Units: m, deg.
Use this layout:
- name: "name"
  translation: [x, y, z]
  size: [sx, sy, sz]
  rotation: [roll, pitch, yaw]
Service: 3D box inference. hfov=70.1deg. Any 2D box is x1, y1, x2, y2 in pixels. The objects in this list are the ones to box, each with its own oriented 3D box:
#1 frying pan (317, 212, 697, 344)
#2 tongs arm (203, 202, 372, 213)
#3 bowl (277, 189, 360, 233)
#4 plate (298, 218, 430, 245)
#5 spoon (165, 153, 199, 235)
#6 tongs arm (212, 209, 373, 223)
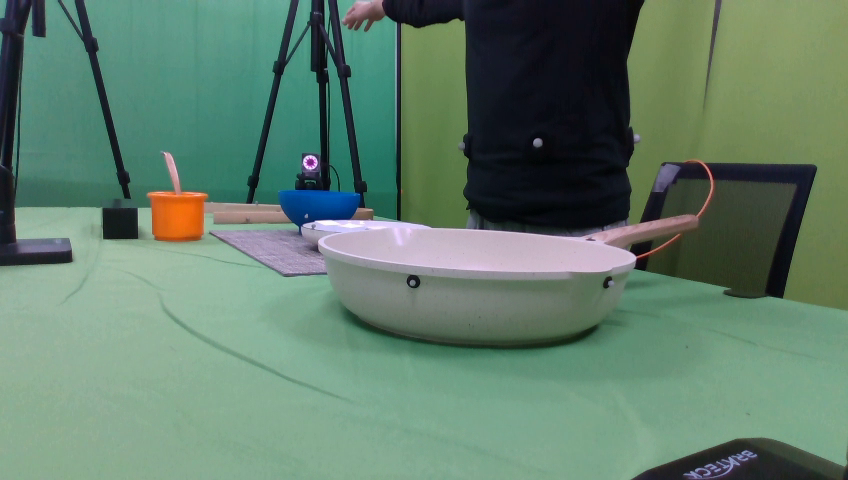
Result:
- name: "frying pan"
  translation: [0.133, 0.013, 0.630]
  size: [0.490, 0.102, 0.305]
  rotation: [-12, 14, -31]
- name: "tongs arm"
  translation: [-0.312, -0.068, 1.417]
  size: [0.387, 0.026, 0.050]
  rotation: [1, 8, -24]
- name: "bowl"
  translation: [-0.195, -0.052, 1.118]
  size: [0.151, 0.077, 0.151]
  rotation: [2, 7, 0]
- name: "plate"
  translation: [-0.091, -0.006, 0.949]
  size: [0.208, 0.039, 0.207]
  rotation: [2, 7, 0]
- name: "spoon"
  translation: [-0.417, -0.081, 1.027]
  size: [0.042, 0.193, 0.021]
  rotation: [1, -37, -37]
- name: "tongs arm"
  translation: [-0.274, -0.053, 1.346]
  size: [0.390, 0.028, 0.028]
  rotation: [-2, 7, -37]
